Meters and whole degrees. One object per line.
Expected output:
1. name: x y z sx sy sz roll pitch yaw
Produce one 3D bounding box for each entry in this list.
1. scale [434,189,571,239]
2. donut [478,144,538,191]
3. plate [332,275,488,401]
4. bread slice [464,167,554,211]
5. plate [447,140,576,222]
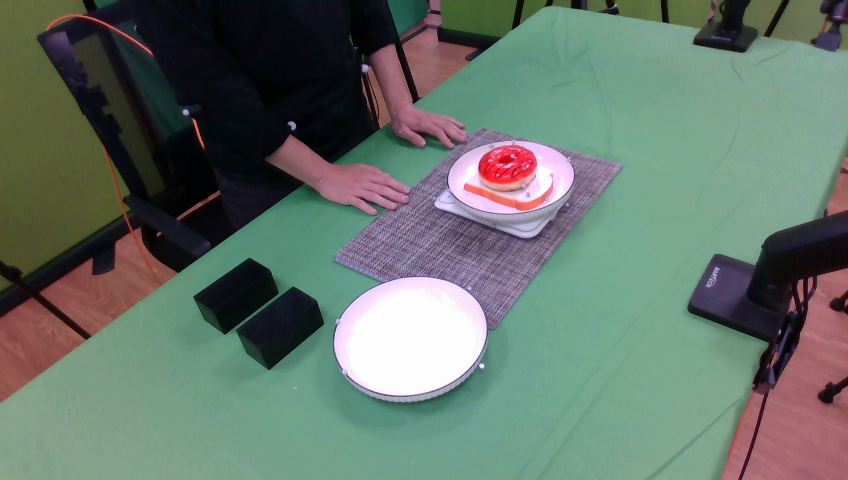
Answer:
1. scale: 0.132 -0.075 1.025 0.199 0.032 0.149 22 48 30
2. donut: 0.135 -0.119 0.983 0.099 0.048 0.098 -7 41 6
3. plate: -0.017 0.131 0.808 0.207 0.039 0.206 -4 41 4
4. bread slice: 0.149 -0.095 0.998 0.130 0.019 0.105 25 51 32
5. plate: 0.143 -0.094 0.995 0.209 0.038 0.208 -4 41 4
